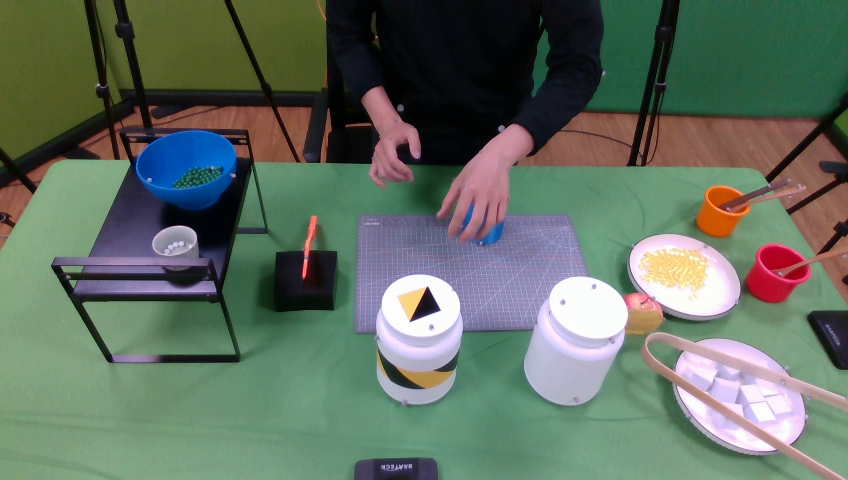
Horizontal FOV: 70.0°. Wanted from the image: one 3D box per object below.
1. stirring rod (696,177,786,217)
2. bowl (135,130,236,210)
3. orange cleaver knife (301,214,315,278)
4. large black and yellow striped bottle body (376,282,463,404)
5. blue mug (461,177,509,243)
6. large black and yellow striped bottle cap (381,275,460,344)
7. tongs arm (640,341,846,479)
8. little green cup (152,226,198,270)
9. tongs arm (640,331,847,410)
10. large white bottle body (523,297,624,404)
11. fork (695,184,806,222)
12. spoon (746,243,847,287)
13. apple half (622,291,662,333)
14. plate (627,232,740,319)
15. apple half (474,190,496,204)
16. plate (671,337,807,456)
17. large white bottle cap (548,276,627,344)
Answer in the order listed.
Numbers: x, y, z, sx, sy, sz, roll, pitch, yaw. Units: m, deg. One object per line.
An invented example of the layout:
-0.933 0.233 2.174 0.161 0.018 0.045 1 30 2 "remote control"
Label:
0.648 -0.087 1.244 0.176 0.006 0.014 -25 50 29 "stirring rod"
-0.375 -0.102 0.978 0.151 0.077 0.150 2 46 -2 "bowl"
-0.218 0.007 1.131 0.012 0.077 0.210 7 19 -9 "orange cleaver knife"
-0.010 0.155 0.937 0.131 0.185 0.130 2 47 -2 "large black and yellow striped bottle body"
0.114 -0.070 1.211 0.082 0.106 0.115 -12 48 -15 "blue mug"
-0.005 0.098 0.875 0.115 0.019 0.114 2 45 -2 "large black and yellow striped bottle cap"
0.500 0.278 0.920 0.386 0.028 0.028 34 59 22 "tongs arm"
-0.364 0.013 0.894 0.061 0.039 0.061 3 46 -3 "little green cup"
0.543 0.226 0.969 0.384 0.026 0.050 22 53 13 "tongs arm"
0.235 0.159 0.952 0.131 0.185 0.130 2 47 -2 "large white bottle body"
0.658 -0.074 1.230 0.207 0.019 0.028 -24 34 36 "fork"
0.702 0.043 1.126 0.194 0.022 0.041 -29 38 30 "spoon"
0.372 0.123 1.074 0.081 0.075 0.053 0 43 1 "apple half"
0.489 0.070 1.157 0.209 0.038 0.208 3 46 -3 "plate"
0.109 -0.067 1.200 0.032 0.081 0.081 29 51 12 "apple half"
0.504 0.254 0.984 0.208 0.039 0.206 2 46 -2 "plate"
0.240 0.100 0.890 0.115 0.018 0.114 3 47 -3 "large white bottle cap"
